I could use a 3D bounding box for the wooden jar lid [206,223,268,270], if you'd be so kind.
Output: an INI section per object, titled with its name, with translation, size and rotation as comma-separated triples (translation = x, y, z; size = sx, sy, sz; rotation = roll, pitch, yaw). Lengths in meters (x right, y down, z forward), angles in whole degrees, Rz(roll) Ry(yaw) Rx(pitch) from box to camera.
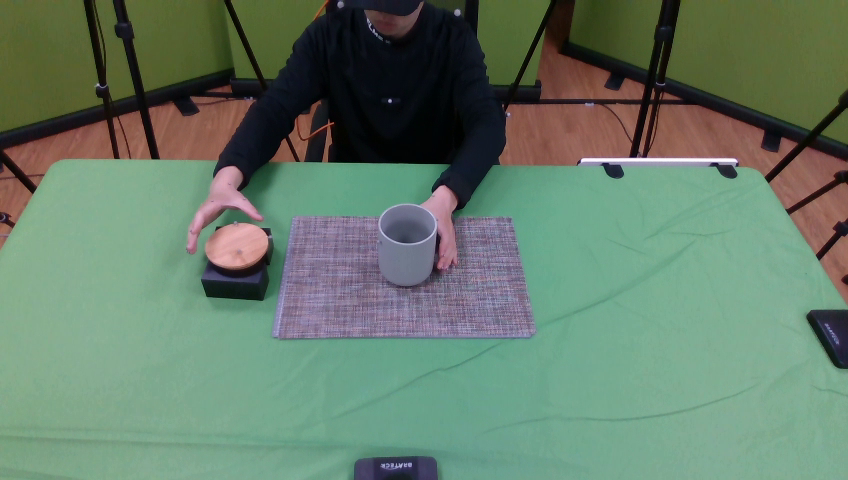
[wooden jar lid]
translation = -0.336, 0.013, 1.093
size = 0.108, 0.021, 0.107
rotation = 2, 45, -2

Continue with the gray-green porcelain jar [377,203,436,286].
[gray-green porcelain jar]
translation = -0.033, 0.014, 1.106
size = 0.106, 0.127, 0.105
rotation = 2, 46, -2
